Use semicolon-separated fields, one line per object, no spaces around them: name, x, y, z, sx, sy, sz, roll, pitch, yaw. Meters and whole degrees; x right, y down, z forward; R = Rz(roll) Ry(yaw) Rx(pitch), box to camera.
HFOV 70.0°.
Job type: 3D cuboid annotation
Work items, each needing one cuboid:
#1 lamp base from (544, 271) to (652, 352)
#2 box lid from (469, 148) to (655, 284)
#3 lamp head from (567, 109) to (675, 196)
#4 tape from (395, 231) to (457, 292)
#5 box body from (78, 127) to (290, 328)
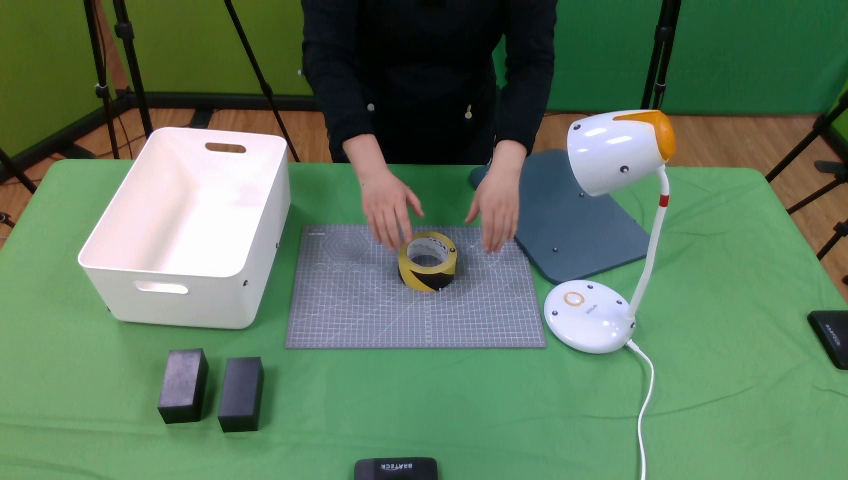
lamp base;0.310;0.086;1.029;0.178;0.181;0.160;32;52;21
box lid;0.285;-0.064;1.289;0.263;0.015;0.369;-16;49;-19
lamp head;0.272;-0.123;0.818;0.122;0.113;0.112;-9;35;37
tape;0.005;0.039;1.136;0.117;0.053;0.116;2;46;-1
box body;-0.400;-0.027;1.095;0.254;0.161;0.362;4;46;0
